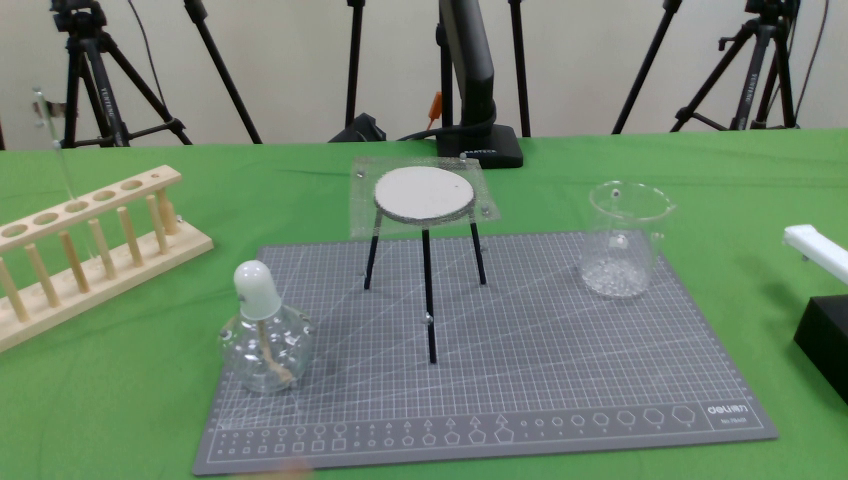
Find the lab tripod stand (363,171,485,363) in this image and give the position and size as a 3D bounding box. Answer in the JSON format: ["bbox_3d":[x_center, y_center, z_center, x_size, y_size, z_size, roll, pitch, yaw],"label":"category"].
[{"bbox_3d":[0.003,0.017,0.558,0.148,0.132,0.147,1,35,0],"label":"lab tripod stand"}]

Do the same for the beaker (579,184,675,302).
[{"bbox_3d":[0.198,0.005,0.602,0.084,0.101,0.073,2,35,4],"label":"beaker"}]

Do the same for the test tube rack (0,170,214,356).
[{"bbox_3d":[-0.345,0.018,0.613,0.066,0.086,0.242,27,43,34],"label":"test tube rack"}]

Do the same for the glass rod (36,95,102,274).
[{"bbox_3d":[-0.341,-0.044,0.585,0.008,0.201,0.008,3,36,-2],"label":"glass rod"}]

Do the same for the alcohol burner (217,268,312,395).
[{"bbox_3d":[-0.133,0.070,0.500,0.078,0.120,0.077,1,34,0],"label":"alcohol burner"}]

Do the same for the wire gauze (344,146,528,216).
[{"bbox_3d":[0.006,-0.050,0.508,0.125,0.011,0.120,-8,31,-24],"label":"wire gauze"}]

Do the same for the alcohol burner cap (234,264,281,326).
[{"bbox_3d":[-0.135,0.041,0.480,0.034,0.048,0.033,-1,38,1],"label":"alcohol burner cap"}]

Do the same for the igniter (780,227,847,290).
[{"bbox_3d":[0.401,0.063,0.498,0.057,0.025,0.273,-7,31,-9],"label":"igniter"}]
